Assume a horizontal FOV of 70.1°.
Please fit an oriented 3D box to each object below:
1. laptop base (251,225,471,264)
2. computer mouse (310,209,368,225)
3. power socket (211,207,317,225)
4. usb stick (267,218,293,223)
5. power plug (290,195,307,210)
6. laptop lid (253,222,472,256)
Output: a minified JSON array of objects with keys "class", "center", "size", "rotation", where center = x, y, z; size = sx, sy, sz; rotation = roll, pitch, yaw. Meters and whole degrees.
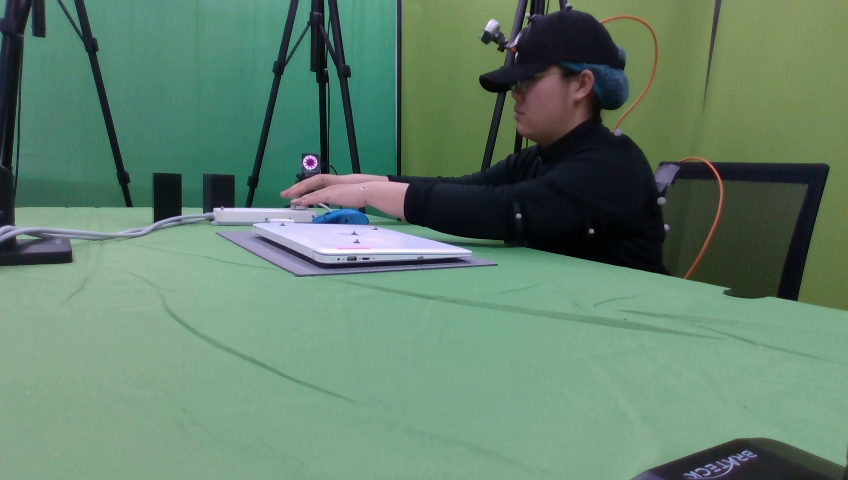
[{"class":"laptop base","center":[-0.115,0.007,0.955],"size":[0.237,0.023,0.352],"rotation":[2,6,-31]},{"class":"computer mouse","center":[-0.179,-0.044,1.275],"size":[0.118,0.041,0.062],"rotation":[-5,12,-29]},{"class":"power socket","center":[-0.334,-0.051,1.281],"size":[0.228,0.032,0.072],"rotation":[-1,9,-27]},{"class":"usb stick","center":[-0.272,-0.026,1.107],"size":[0.059,0.027,0.021],"rotation":[-3,11,-27]},{"class":"power plug","center":[-0.278,-0.074,1.340],"size":[0.035,0.052,0.072],"rotation":[4,2,-14]},{"class":"laptop lid","center":[-0.113,-0.005,0.955],"size":[0.243,0.013,0.355],"rotation":[1,7,-29]}]
